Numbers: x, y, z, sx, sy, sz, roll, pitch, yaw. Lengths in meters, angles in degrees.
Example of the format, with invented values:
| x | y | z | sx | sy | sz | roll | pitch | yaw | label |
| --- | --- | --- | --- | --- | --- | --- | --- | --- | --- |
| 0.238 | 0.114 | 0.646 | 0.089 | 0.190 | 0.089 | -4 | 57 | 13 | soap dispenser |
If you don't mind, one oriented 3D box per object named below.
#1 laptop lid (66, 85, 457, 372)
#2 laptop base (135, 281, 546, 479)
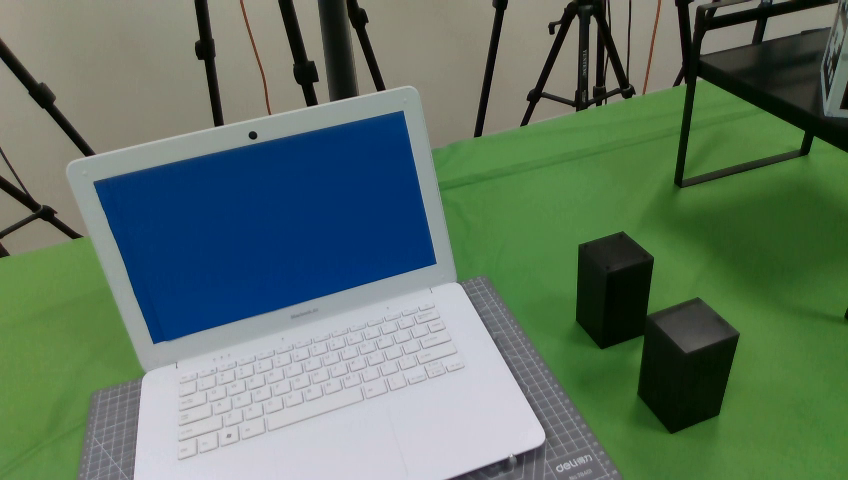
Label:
| x | y | z | sx | sy | sz | roll | pitch | yaw | label |
| --- | --- | --- | --- | --- | --- | --- | --- | --- | --- |
| -0.151 | -0.011 | 0.639 | 0.357 | 0.243 | 0.013 | -17 | 18 | -10 | laptop lid |
| -0.092 | 0.160 | 0.582 | 0.355 | 0.023 | 0.233 | -16 | 39 | -11 | laptop base |
